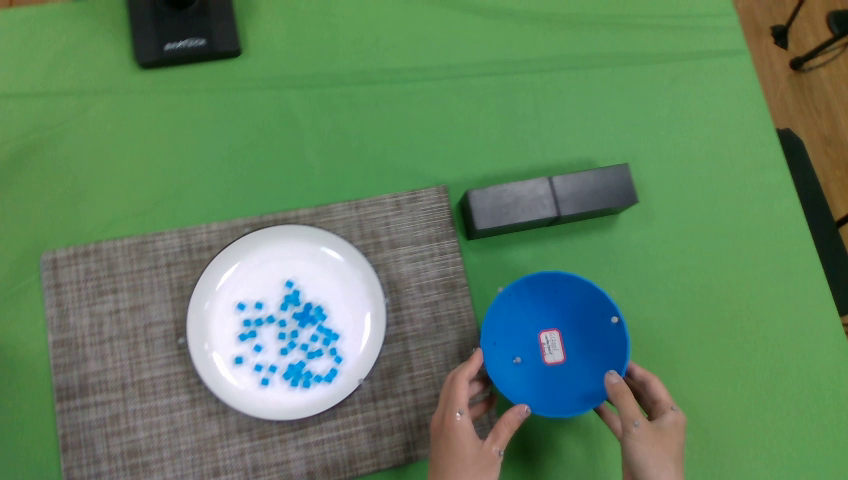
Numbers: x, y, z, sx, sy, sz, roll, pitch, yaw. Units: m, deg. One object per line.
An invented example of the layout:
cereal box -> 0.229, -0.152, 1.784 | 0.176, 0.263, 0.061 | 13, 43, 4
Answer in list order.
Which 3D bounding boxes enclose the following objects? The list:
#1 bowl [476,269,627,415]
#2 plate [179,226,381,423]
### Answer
bowl -> 0.133, 0.113, 0.652 | 0.151, 0.077, 0.150 | -3, 71, 9
plate -> -0.151, 0.089, 0.654 | 0.208, 0.039, 0.206 | 2, 77, -9
